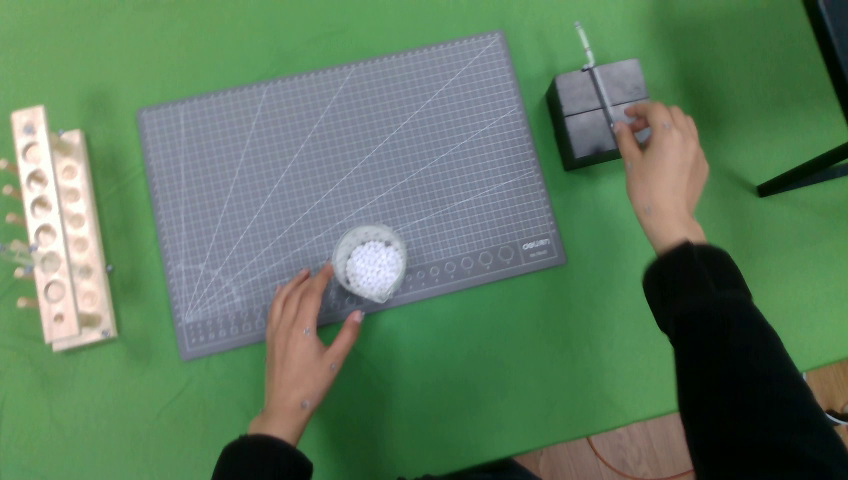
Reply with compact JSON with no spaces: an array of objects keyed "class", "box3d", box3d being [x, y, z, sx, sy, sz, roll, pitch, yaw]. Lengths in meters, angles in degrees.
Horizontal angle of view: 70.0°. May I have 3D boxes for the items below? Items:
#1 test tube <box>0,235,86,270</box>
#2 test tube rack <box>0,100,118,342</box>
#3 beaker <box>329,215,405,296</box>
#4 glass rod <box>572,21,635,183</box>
[{"class":"test tube","box3d":[-0.371,0.015,0.598,0.017,0.150,0.017,1,81,-7]},{"class":"test tube rack","box3d":[-0.403,-0.016,0.652,0.067,0.085,0.241,-14,82,-4]},{"class":"beaker","box3d":[-0.056,0.023,0.649,0.074,0.100,0.083,-18,82,-4]},{"class":"glass rod","box3d":[0.202,-0.157,0.684,0.008,0.008,0.199,-17,83,-4]}]
